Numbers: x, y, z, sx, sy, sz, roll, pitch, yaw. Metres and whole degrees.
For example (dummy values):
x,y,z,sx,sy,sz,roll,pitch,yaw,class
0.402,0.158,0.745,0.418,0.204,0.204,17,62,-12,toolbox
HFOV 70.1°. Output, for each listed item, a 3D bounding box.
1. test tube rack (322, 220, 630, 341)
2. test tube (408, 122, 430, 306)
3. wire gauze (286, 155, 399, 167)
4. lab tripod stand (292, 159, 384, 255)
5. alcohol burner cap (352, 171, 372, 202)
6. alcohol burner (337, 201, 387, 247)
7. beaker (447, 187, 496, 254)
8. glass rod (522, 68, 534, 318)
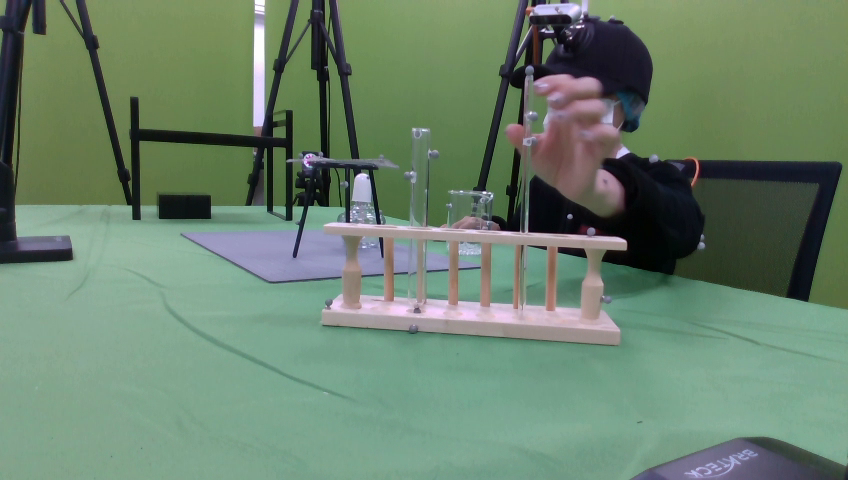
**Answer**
x,y,z,sx,sy,sz,roll,pitch,yaw,class
0.041,0.029,0.512,0.242,0.085,0.067,3,7,5,test tube rack
-0.005,-0.019,0.489,0.017,0.150,0.017,1,12,0,test tube
-0.101,-0.105,0.788,0.121,0.011,0.125,4,6,6,wire gauze
-0.105,-0.039,0.797,0.148,0.131,0.148,2,5,0,lab tripod stand
-0.096,-0.084,0.951,0.034,0.048,0.034,5,6,0,alcohol burner cap
-0.098,-0.049,0.954,0.078,0.119,0.078,0,6,0,alcohol burner
0.076,-0.031,0.949,0.074,0.100,0.083,-5,11,-42,beaker
0.082,-0.031,0.473,0.008,0.199,0.008,-1,15,1,glass rod
